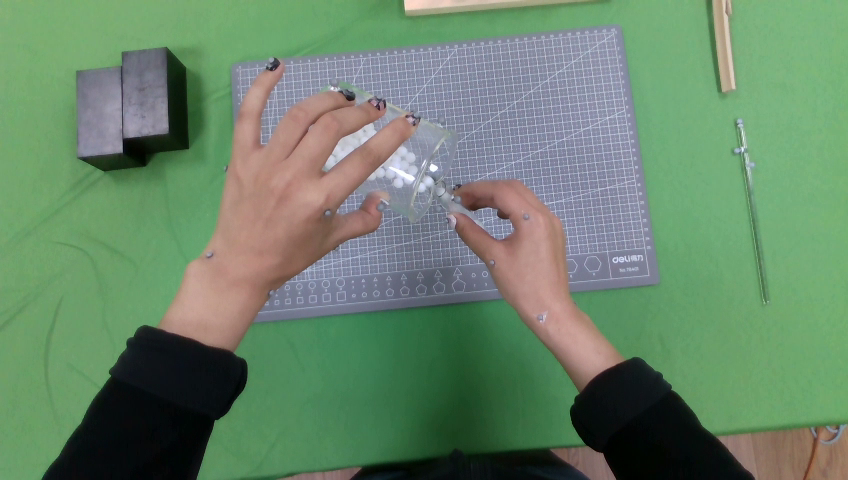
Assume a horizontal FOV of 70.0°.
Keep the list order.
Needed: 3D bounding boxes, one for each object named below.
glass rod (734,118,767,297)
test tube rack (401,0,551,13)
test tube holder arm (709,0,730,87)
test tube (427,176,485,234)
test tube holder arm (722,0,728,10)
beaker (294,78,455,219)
[{"bbox_3d":[0.354,-0.037,0.658,0.008,0.008,0.199,-4,81,1],"label":"glass rod"},{"bbox_3d":[0.092,-0.313,0.669,0.242,0.085,0.066,-5,81,1],"label":"test tube rack"},{"bbox_3d":[0.332,-0.259,0.684,0.013,0.015,0.178,5,81,-27],"label":"test tube holder arm"},{"bbox_3d":[0.032,-0.028,0.550,0.017,0.151,0.017,-4,76,18],"label":"test tube"},{"bbox_3d":[0.338,-0.303,0.693,0.010,0.015,0.087,5,80,-27],"label":"test tube holder arm"},{"bbox_3d":[-0.037,-0.070,0.451,0.100,0.084,0.074,27,88,9],"label":"beaker"}]
